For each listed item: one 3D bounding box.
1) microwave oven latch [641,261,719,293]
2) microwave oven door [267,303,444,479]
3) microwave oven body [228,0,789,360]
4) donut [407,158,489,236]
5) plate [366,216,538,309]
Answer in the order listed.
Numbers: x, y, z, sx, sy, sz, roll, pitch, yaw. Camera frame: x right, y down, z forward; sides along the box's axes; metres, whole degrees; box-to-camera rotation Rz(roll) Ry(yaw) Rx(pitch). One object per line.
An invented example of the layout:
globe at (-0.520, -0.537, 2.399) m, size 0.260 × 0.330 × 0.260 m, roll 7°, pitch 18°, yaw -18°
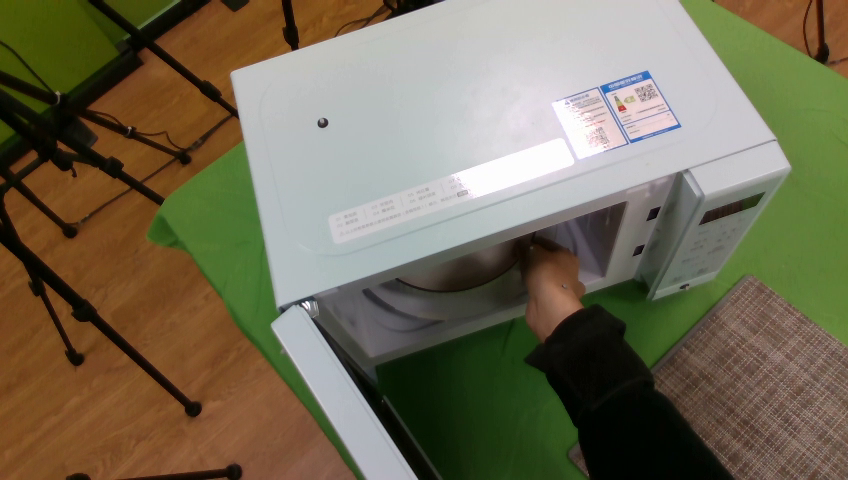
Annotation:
microwave oven latch at (0.289, 0.033, 0.686) m, size 0.079 × 0.030 × 0.030 m, roll -19°, pitch 64°, yaw 0°
microwave oven door at (0.003, 0.227, 0.522) m, size 0.039 × 0.246 × 0.352 m, roll -36°, pitch 64°, yaw -9°
microwave oven body at (0.064, -0.077, 0.664) m, size 0.442 × 0.262 × 0.323 m, roll -19°, pitch 64°, yaw 0°
donut at (0.029, -0.050, 0.710) m, size 0.099 × 0.048 × 0.098 m, roll 5°, pitch 65°, yaw -11°
plate at (0.025, -0.010, 0.685) m, size 0.209 × 0.038 × 0.207 m, roll -7°, pitch 56°, yaw 11°
